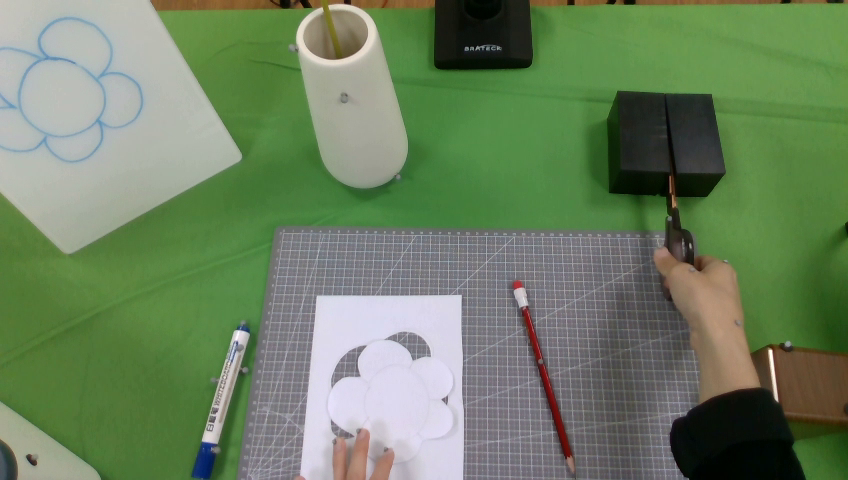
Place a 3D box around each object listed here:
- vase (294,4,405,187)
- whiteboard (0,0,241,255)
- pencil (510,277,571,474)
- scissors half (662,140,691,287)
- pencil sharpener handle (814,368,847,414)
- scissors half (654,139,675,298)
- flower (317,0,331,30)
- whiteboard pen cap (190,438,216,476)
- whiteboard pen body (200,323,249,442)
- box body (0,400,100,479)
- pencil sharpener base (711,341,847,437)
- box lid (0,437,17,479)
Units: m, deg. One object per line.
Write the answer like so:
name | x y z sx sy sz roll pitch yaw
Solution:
vase | -0.073 -0.137 0.607 0.098 0.201 0.097 -1 65 3
whiteboard | -0.366 -0.175 0.609 0.217 0.309 0.142 -31 49 -11
pencil | 0.113 0.126 0.586 0.012 0.012 0.192 -12 68 -3
scissors half | 0.248 -0.033 0.604 0.013 0.040 0.173 8 57 0
pencil sharpener handle | 0.361 0.133 0.512 0.030 0.068 0.035 5 60 1
scissors half | 0.248 -0.025 0.623 0.013 0.040 0.174 6 75 5
flower | -0.083 -0.183 0.537 0.044 0.365 0.038 -6 48 3
whiteboard pen cap | -0.203 0.200 0.559 0.018 0.018 0.033 7 62 5
whiteboard pen body | -0.195 0.147 0.584 0.017 0.017 0.140 7 65 6
box body | -0.495 0.211 0.488 0.362 0.161 0.253 26 70 13
pencil sharpener base | 0.310 0.132 0.524 0.077 0.108 0.061 5 66 1
box lid | -0.499 0.179 0.420 0.370 0.015 0.262 26 69 13
